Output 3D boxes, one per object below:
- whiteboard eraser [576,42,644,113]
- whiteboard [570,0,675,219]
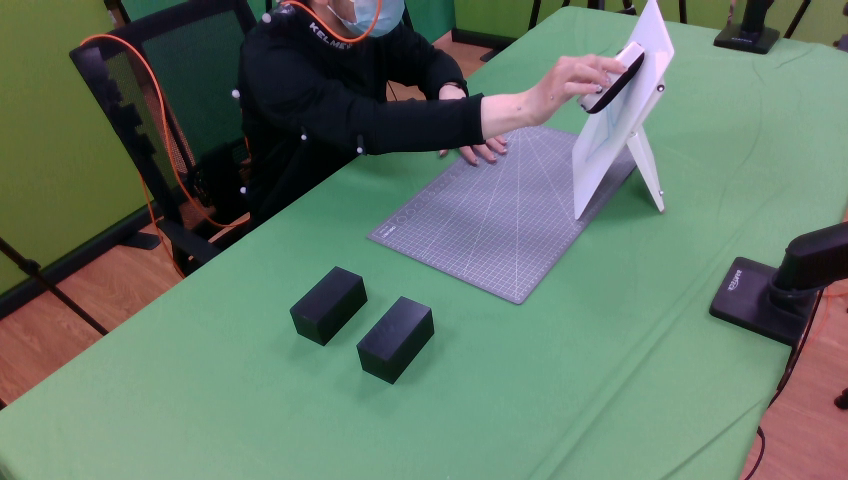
[{"bbox_3d":[0.280,-0.240,0.903,0.042,0.112,0.055,41,11,0],"label":"whiteboard eraser"},{"bbox_3d":[0.363,-0.187,0.965,0.144,0.305,0.216,18,42,-3],"label":"whiteboard"}]
